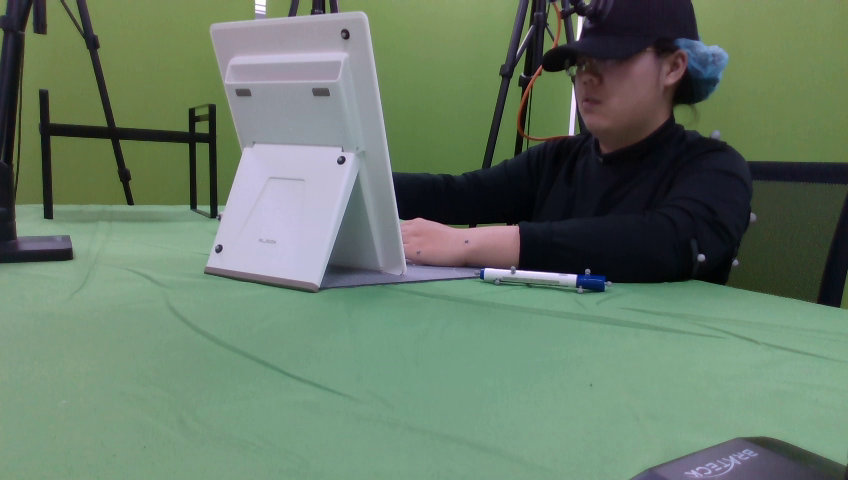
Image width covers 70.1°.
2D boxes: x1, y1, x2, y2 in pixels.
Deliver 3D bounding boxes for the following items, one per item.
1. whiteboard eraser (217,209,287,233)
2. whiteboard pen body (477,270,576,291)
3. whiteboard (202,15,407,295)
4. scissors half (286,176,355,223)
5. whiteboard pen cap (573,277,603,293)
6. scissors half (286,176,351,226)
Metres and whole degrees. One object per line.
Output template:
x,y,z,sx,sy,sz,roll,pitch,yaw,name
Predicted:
-0.310,-0.034,1.094,0.113,0.042,0.055,-3,10,-38,whiteboard eraser
0.131,0.048,0.706,0.140,0.017,0.017,4,8,18,whiteboard pen body
-0.167,-0.073,0.668,0.216,0.305,0.144,7,30,28,whiteboard
-0.229,-0.091,1.337,0.175,0.013,0.040,33,14,-13,scissors half
0.186,0.051,0.687,0.033,0.018,0.018,4,8,17,whiteboard pen cap
-0.232,-0.085,1.317,0.175,0.013,0.040,38,19,4,scissors half
